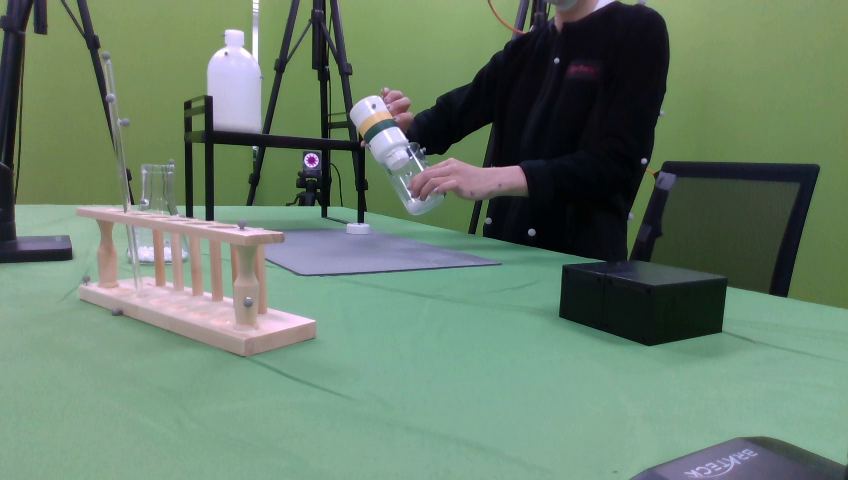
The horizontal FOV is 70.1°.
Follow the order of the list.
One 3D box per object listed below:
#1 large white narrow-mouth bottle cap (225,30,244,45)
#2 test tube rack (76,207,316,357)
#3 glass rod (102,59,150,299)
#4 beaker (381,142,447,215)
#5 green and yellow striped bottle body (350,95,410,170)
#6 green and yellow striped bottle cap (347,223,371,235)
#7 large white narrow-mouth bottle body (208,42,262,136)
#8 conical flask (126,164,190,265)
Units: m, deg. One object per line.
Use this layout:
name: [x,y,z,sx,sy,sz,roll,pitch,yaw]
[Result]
large white narrow-mouth bottle cap: [-0.365,-0.389,1.166,0.038,0.024,0.037,2,9,0]
test tube rack: [-0.196,0.023,0.500,0.241,0.085,0.067,8,9,36]
glass rod: [-0.243,-0.045,0.496,0.008,0.199,0.008,-4,13,1]
beaker: [-0.015,-0.098,0.978,0.074,0.100,0.084,-34,-12,17]
green and yellow striped bottle body: [-0.069,-0.175,1.006,0.063,0.119,0.063,-29,-12,-7]
green and yellow striped bottle cap: [-0.123,-0.021,1.132,0.045,0.020,0.045,1,9,0]
large white narrow-mouth bottle body: [-0.368,-0.304,1.181,0.102,0.194,0.101,2,9,0]
conical flask: [-0.332,-0.033,0.756,0.075,0.122,0.075,2,7,0]
